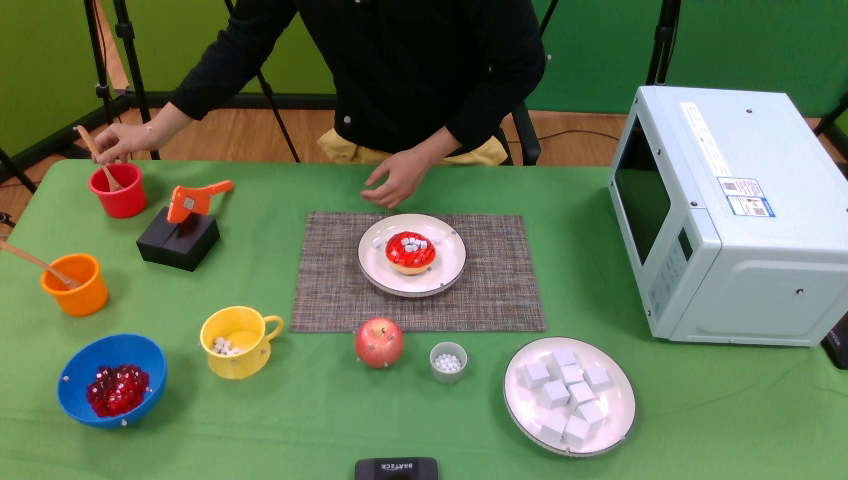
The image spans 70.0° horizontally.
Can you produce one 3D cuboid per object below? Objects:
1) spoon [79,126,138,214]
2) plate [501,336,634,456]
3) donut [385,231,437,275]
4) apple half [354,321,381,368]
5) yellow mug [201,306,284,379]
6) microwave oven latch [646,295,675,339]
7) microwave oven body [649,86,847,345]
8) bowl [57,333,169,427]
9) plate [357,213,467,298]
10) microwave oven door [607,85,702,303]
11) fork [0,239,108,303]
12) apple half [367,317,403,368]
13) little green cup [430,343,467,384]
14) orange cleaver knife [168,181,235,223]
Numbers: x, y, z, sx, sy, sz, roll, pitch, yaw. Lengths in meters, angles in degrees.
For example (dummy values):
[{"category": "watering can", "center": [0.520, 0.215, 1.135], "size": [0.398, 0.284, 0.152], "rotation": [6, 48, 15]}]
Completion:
[{"category": "spoon", "center": [-0.627, -0.139, 1.202], "size": [0.041, 0.021, 0.194], "rotation": [-31, 100, -27]}, {"category": "plate", "center": [0.225, 0.249, 0.963], "size": [0.208, 0.039, 0.206], "rotation": [2, 46, -2]}, {"category": "donut", "center": [-0.025, 0.024, 1.142], "size": [0.099, 0.048, 0.098], "rotation": [3, 44, -3]}, {"category": "apple half", "center": [-0.097, 0.176, 0.985], "size": [0.033, 0.081, 0.080], "rotation": [-12, 48, -20]}, {"category": "yellow mug", "center": [-0.291, 0.160, 0.993], "size": [0.131, 0.064, 0.099], "rotation": [-23, 51, -25]}, {"category": "microwave oven latch", "center": [0.412, 0.134, 1.061], "size": [0.030, 0.029, 0.078], "rotation": [4, 45, 1]}, {"category": "microwave oven body", "center": [0.568, -0.053, 1.118], "size": [0.326, 0.261, 0.439], "rotation": [2, 45, -1]}, {"category": "bowl", "center": [-0.456, 0.223, 0.911], "size": [0.151, 0.077, 0.150], "rotation": [3, 45, -2]}, {"category": "plate", "center": [-0.023, 0.032, 1.150], "size": [0.209, 0.038, 0.208], "rotation": [2, 46, -2]}, {"category": "microwave oven door", "center": [0.423, -0.094, 1.140], "size": [0.039, 0.245, 0.353], "rotation": [2, 46, -1]}, {"category": "fork", "center": [-0.633, 0.048, 1.017], "size": [0.208, 0.018, 0.028], "rotation": [40, 39, -27]}, {"category": "apple half", "center": [-0.061, 0.167, 0.998], "size": [0.053, 0.075, 0.080], "rotation": [-11, 44, -20]}, {"category": "little green cup", "center": [0.039, 0.203, 0.993], "size": [0.061, 0.039, 0.061], "rotation": [2, 46, -2]}, {"category": "orange cleaver knife", "center": [-0.436, -0.077, 1.196], "size": [0.012, 0.077, 0.211], "rotation": [16, 15, 10]}]
